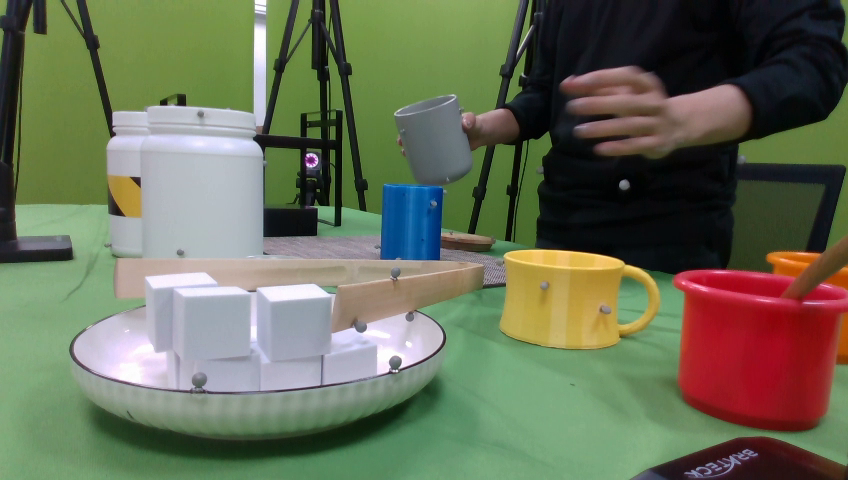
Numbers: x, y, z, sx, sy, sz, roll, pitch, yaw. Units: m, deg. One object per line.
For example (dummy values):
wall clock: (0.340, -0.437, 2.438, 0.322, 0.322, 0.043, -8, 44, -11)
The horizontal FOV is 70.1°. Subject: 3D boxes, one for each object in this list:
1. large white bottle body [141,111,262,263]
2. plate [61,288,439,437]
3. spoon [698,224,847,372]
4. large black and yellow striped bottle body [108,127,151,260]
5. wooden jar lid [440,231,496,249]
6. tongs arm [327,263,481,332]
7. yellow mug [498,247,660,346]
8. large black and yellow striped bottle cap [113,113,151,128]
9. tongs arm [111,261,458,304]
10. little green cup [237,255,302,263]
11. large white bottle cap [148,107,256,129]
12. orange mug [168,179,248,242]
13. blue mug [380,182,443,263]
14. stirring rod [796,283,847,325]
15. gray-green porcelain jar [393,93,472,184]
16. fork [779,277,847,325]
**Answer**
large white bottle body: (-0.254, -0.053, 0.697, 0.131, 0.184, 0.130, 2, 7, 0)
plate: (-0.095, 0.069, 0.362, 0.208, 0.039, 0.207, 3, 7, 0)
spoon: (0.195, 0.032, 0.323, 0.041, 0.021, 0.194, 1, -36, 2)
large black and yellow striped bottle body: (-0.350, -0.071, 0.812, 0.131, 0.184, 0.130, 2, 7, 0)
wooden jar lid: (0.066, 0.000, 1.011, 0.108, 0.020, 0.108, 6, 7, 0)
tongs arm: (-0.003, 0.036, 0.493, 0.050, 0.026, 0.386, 1, 0, 19)
yellow mug: (0.130, 0.045, 0.508, 0.131, 0.064, 0.100, 4, 7, 6)
large black and yellow striped bottle cap: (-0.348, -0.154, 0.800, 0.115, 0.019, 0.115, 2, 6, 0)
tongs arm: (-0.080, 0.032, 0.527, 0.028, 0.027, 0.389, -3, -3, 33)
little green cup: (-0.150, 0.038, 0.590, 0.061, 0.038, 0.061, 3, 7, 0)
large white bottle cap: (-0.250, -0.137, 0.686, 0.115, 0.018, 0.115, 2, 8, 0)
orange mug: (-0.351, -0.050, 0.986, 0.126, 0.101, 0.083, -3, 8, -9)
blue mug: (-0.019, -0.026, 0.833, 0.082, 0.106, 0.116, 1, 7, -7)
stirring rod: (0.346, 0.019, 0.460, 0.014, 0.176, 0.006, -17, 59, -26)
gray-green porcelain jar: (0.018, -0.160, 0.977, 0.106, 0.126, 0.105, -15, 21, 6)
fork: (0.335, 0.018, 0.443, 0.028, 0.018, 0.207, -1, -36, -20)
